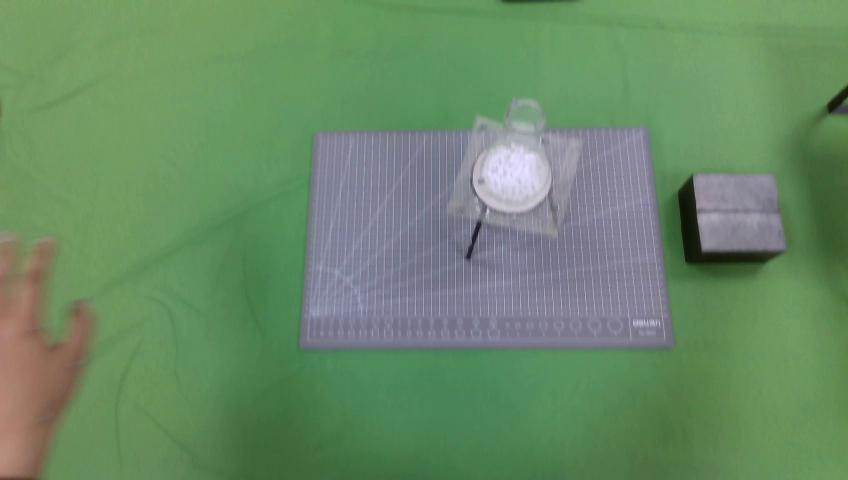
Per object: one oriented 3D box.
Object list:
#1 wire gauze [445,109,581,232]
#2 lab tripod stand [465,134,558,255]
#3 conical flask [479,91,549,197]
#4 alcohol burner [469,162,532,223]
[{"bbox_3d":[0.097,-0.076,0.651,0.121,0.011,0.124,16,71,6],"label":"wire gauze"},{"bbox_3d":[0.094,-0.058,0.715,0.148,0.132,0.147,-1,72,3],"label":"lab tripod stand"},{"bbox_3d":[0.093,-0.097,0.597,0.075,0.122,0.075,-1,72,2],"label":"conical flask"},{"bbox_3d":[0.093,-0.065,0.728,0.078,0.120,0.077,-1,73,3],"label":"alcohol burner"}]
